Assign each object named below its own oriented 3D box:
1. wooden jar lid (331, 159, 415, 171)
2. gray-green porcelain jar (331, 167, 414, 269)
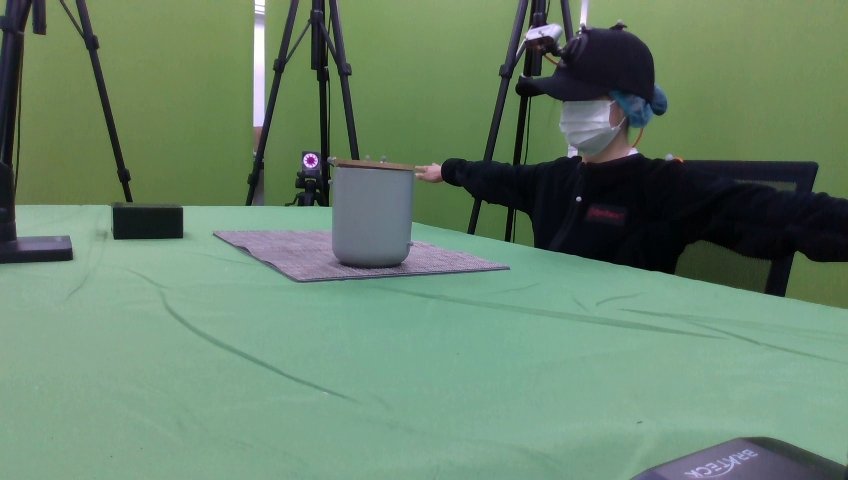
[{"bbox_3d":[-0.066,-0.091,0.783,0.108,0.020,0.108,5,8,0],"label":"wooden jar lid"},{"bbox_3d":[-0.069,-0.030,0.791,0.106,0.126,0.106,3,7,0],"label":"gray-green porcelain jar"}]
